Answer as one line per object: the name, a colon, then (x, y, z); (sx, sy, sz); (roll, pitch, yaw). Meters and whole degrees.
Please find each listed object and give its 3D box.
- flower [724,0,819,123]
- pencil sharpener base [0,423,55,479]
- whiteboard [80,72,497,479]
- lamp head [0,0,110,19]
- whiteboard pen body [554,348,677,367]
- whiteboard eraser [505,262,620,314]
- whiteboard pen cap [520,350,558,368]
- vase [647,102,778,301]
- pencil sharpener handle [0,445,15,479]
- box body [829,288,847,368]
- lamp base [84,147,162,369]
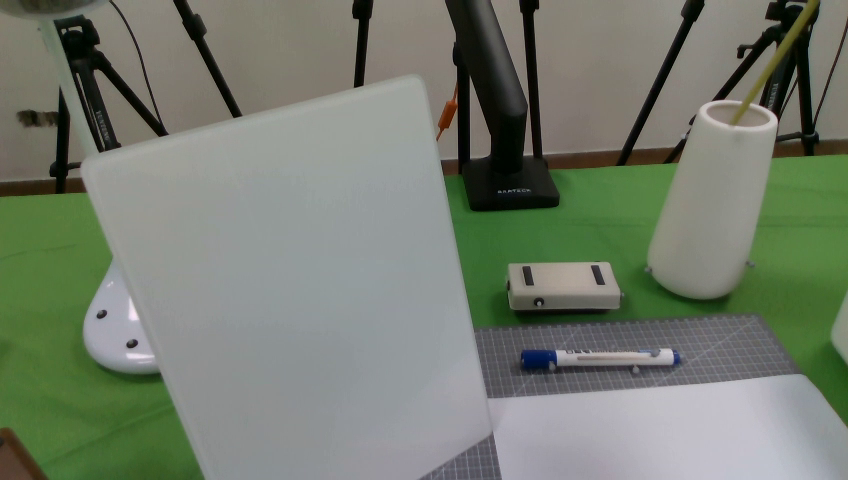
flower: (0.280, -0.205, 0.368); (0.044, 0.364, 0.038); (-11, 58, -16)
pencil sharpener base: (-0.274, 0.187, 0.404); (0.076, 0.108, 0.061); (26, 45, 33)
whiteboard: (-0.093, 0.049, 0.470); (0.217, 0.307, 0.142); (-22, 21, -25)
lamp head: (-0.259, -0.220, 0.386); (0.112, 0.113, 0.122); (-28, 68, -32)
whiteboard pen body: (0.167, 0.111, 0.571); (0.141, 0.017, 0.017); (-1, 36, 1)
whiteboard eraser: (0.144, 0.051, 0.638); (0.113, 0.042, 0.055); (-2, 34, 0)
whiteboard pen cap: (0.108, 0.113, 0.571); (0.033, 0.018, 0.018); (1, 36, -1)
vase: (0.294, -0.034, 0.618); (0.098, 0.201, 0.097); (0, 36, 0)
pencil sharpener handle: (-0.311, 0.158, 0.426); (0.030, 0.068, 0.036); (26, 53, 33)
box body: (0.510, 0.128, 0.419); (0.254, 0.162, 0.360); (-2, 36, -1)
lamp base: (-0.276, 0.007, 0.591); (0.177, 0.182, 0.160); (23, 42, 32)
